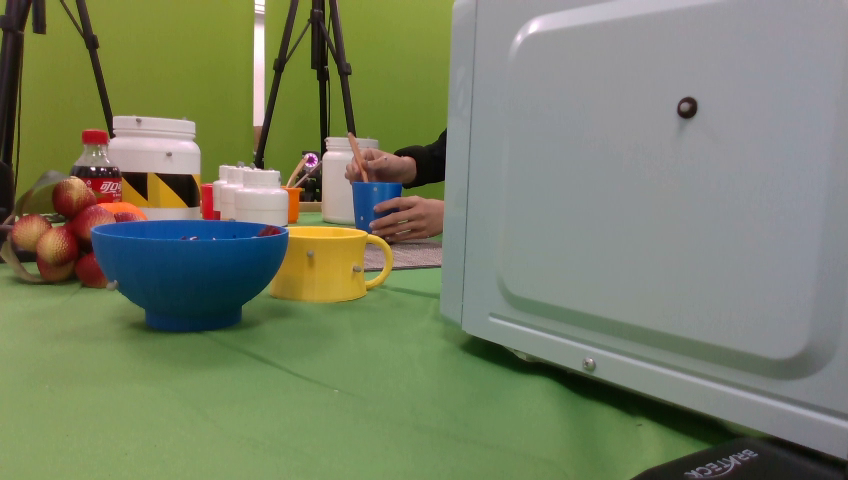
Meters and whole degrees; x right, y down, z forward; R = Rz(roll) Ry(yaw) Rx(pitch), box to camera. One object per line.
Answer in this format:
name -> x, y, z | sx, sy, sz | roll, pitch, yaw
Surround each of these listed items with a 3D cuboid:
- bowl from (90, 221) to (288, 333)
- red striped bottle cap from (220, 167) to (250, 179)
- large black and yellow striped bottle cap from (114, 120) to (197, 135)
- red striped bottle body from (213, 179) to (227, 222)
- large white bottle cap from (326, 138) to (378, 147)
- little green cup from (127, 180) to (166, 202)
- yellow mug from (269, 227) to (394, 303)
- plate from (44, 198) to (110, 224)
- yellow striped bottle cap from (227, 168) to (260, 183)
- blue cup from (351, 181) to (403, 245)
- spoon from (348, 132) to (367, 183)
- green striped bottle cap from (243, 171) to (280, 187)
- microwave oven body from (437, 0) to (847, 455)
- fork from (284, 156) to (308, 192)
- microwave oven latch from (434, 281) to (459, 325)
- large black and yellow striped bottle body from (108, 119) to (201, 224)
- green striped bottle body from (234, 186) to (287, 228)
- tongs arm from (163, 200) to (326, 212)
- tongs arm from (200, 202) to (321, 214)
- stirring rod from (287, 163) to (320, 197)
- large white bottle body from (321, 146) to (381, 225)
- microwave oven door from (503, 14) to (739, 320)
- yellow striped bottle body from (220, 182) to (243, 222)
bowl -> -0.190, 0.029, 0.500 | 0.151, 0.077, 0.151 | 3, 7, 0
red striped bottle cap -> -0.281, -0.100, 0.901 | 0.044, 0.017, 0.044 | -1, 5, 0
large black and yellow striped bottle cap -> -0.407, -0.171, 0.920 | 0.115, 0.019, 0.115 | 2, 9, 0
red striped bottle body -> -0.284, -0.048, 0.910 | 0.063, 0.119, 0.063 | 3, 12, 0
large white bottle cap -> -0.158, -0.214, 1.329 | 0.115, 0.018, 0.115 | 2, 8, 0
little green cup -> -0.486, -0.086, 1.061 | 0.061, 0.038, 0.061 | 1, 7, 0
yellow mug -> -0.094, 0.023, 0.629 | 0.131, 0.064, 0.099 | 0, 7, -22
plate -> -0.617, -0.056, 1.179 | 0.209, 0.038, 0.209 | 3, 7, 0
yellow striped bottle cap -> -0.243, -0.087, 0.818 | 0.044, 0.018, 0.044 | 3, 6, 0
blue cup -> -0.080, -0.046, 1.013 | 0.093, 0.100, 0.092 | 3, 9, 0
spoon -> -0.103, -0.095, 1.026 | 0.042, 0.193, 0.021 | -1, -13, -45
green striped bottle cap -> -0.198, -0.074, 0.736 | 0.044, 0.020, 0.044 | 1, 7, 0
microwave oven body -> 0.279, -0.040, 0.465 | 0.444, 0.260, 0.324 | -3, 9, -41
fork -> -0.295, -0.116, 1.323 | 0.028, 0.019, 0.207 | 1, 50, 21
microwave oven latch -> 0.044, 0.045, 0.470 | 0.079, 0.029, 0.030 | -2, 8, -39
large black and yellow striped bottle body -> -0.412, -0.088, 0.930 | 0.131, 0.184, 0.130 | 3, 7, 0
green striped bottle body -> -0.201, -0.023, 0.743 | 0.063, 0.119, 0.063 | 2, 7, 0
tongs arm -> -0.432, -0.084, 1.490 | 0.389, 0.027, 0.028 | -1, 1, -27
tongs arm -> -0.380, -0.076, 1.420 | 0.387, 0.026, 0.050 | -4, 5, -42
stirring rod -> -0.283, -0.107, 1.297 | 0.014, 0.006, 0.176 | 9, 51, 51
large white bottle body -> -0.162, -0.131, 1.340 | 0.131, 0.184, 0.130 | 2, 8, 0
microwave oven door -> 0.218, -0.065, 0.600 | 0.358, 0.243, 0.039 | -4, 10, -41
yellow striped bottle body -> -0.245, -0.036, 0.825 | 0.063, 0.120, 0.063 | 3, 8, 0
